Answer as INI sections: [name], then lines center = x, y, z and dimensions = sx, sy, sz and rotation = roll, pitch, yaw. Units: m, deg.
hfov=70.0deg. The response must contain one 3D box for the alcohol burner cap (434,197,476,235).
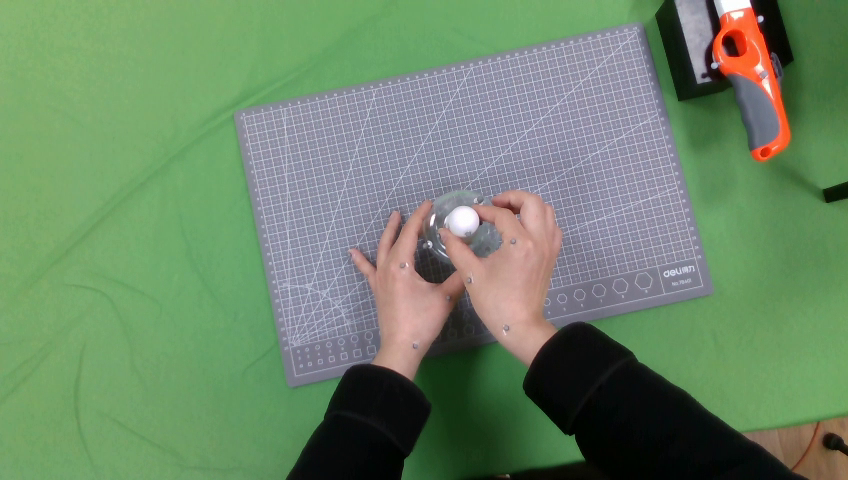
[alcohol burner cap]
center = 0.031, -0.023, 0.548
dimensions = 0.034, 0.048, 0.034
rotation = 1, 85, -15

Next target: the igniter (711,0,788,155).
[igniter]
center = 0.303, -0.217, 0.591
dimensions = 0.057, 0.025, 0.275
rotation = -12, 83, 1

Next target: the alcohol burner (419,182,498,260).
[alcohol burner]
center = 0.033, -0.020, 0.580
dimensions = 0.078, 0.119, 0.078
rotation = 0, 86, 2
